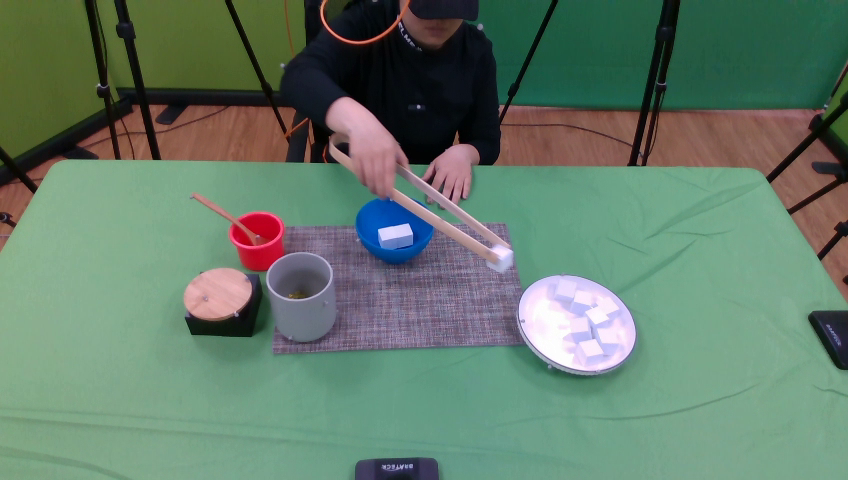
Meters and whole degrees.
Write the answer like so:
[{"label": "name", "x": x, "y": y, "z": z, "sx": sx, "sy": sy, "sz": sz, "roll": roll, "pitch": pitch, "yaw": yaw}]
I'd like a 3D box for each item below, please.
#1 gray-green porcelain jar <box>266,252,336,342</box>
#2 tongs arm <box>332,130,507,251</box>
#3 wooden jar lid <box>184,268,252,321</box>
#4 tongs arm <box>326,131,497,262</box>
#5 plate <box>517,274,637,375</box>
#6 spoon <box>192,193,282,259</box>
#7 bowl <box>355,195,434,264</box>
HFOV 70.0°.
[{"label": "gray-green porcelain jar", "x": -0.202, "y": 0.100, "z": 1.009, "sx": 0.106, "sy": 0.127, "sz": 0.105, "roll": 2, "pitch": 46, "yaw": -2}, {"label": "tongs arm", "x": -0.013, "y": -0.094, "z": 1.080, "sx": 0.386, "sy": 0.028, "sz": 0.028, "roll": 35, "pitch": 57, "yaw": 16}, {"label": "wooden jar lid", "x": -0.343, "y": 0.092, "z": 1.015, "sx": 0.108, "sy": 0.021, "sz": 0.107, "roll": 3, "pitch": 46, "yaw": -3}, {"label": "tongs arm", "x": -0.028, "y": -0.081, "z": 1.066, "sx": 0.384, "sy": 0.026, "sz": 0.050, "roll": 32, "pitch": 52, "yaw": 14}, {"label": "plate", "x": 0.264, "y": 0.149, "z": 1.060, "sx": 0.209, "sy": 0.038, "sz": 0.208, "roll": 3, "pitch": 46, "yaw": -3}, {"label": "spoon", "x": -0.342, "y": -0.027, "z": 1.115, "sx": 0.194, "sy": 0.021, "sz": 0.041, "roll": 43, "pitch": 40, "yaw": -24}, {"label": "bowl", "x": -0.056, "y": -0.008, "z": 1.158, "sx": 0.151, "sy": 0.077, "sz": 0.150, "roll": 2, "pitch": 46, "yaw": -2}]
